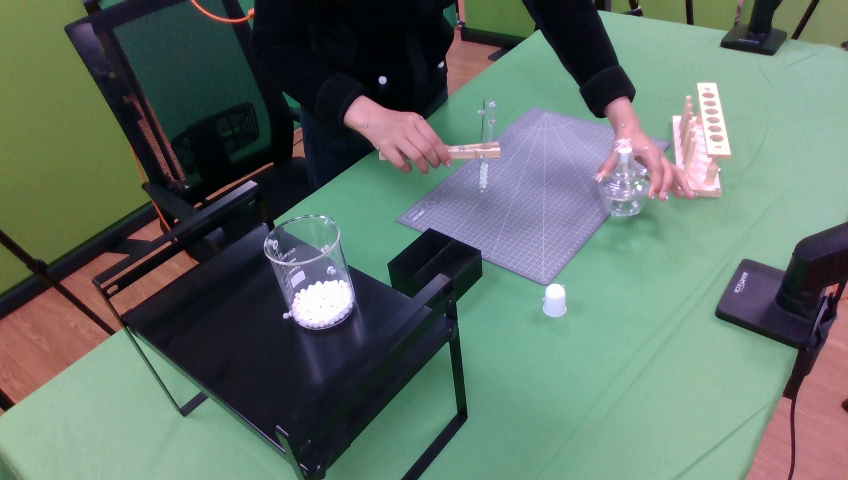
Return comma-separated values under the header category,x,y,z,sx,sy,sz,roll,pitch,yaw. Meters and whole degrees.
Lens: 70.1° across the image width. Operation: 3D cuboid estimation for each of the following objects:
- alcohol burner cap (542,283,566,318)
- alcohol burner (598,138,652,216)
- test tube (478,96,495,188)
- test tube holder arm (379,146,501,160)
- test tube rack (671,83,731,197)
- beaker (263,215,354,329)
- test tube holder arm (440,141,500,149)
category,x,y,z,sx,sy,sz,roll,pitch,yaw
alcohol burner cap,0.182,0.081,0.839,0.034,0.048,0.033,-4,40,3
alcohol burner,0.302,-0.097,0.909,0.078,0.119,0.077,-8,33,5
test tube,0.091,-0.139,0.883,0.017,0.151,0.017,0,40,0
test tube holder arm,0.023,-0.128,0.887,0.178,0.015,0.013,-2,34,1
test tube rack,0.482,-0.184,1.067,0.066,0.085,0.242,6,42,14
beaker,-0.112,0.034,0.616,0.073,0.101,0.084,13,44,23
test tube holder arm,0.068,-0.134,0.892,0.088,0.015,0.010,-6,35,-4
